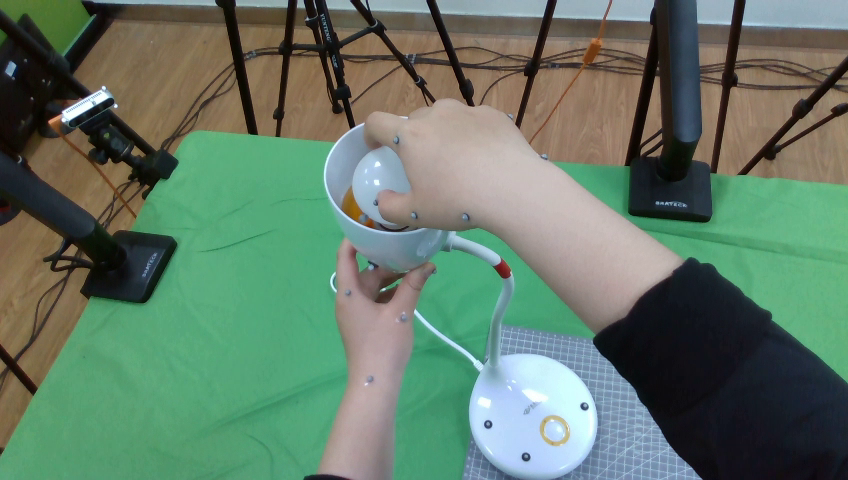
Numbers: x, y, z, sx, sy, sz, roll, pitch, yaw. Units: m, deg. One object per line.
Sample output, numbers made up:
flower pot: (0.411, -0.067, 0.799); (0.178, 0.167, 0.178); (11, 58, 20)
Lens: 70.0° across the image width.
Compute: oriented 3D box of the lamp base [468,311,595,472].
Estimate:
lamp base: (0.117, 0.164, 0.712); (0.177, 0.182, 0.160); (31, 64, 28)

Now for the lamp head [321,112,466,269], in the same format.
lamp head: (-0.019, -0.027, 0.507); (0.112, 0.124, 0.111); (-2, 59, 4)

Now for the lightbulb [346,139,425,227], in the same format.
lightbulb: (-0.029, -0.036, 0.481); (0.059, 0.108, 0.059); (0, 66, 0)
